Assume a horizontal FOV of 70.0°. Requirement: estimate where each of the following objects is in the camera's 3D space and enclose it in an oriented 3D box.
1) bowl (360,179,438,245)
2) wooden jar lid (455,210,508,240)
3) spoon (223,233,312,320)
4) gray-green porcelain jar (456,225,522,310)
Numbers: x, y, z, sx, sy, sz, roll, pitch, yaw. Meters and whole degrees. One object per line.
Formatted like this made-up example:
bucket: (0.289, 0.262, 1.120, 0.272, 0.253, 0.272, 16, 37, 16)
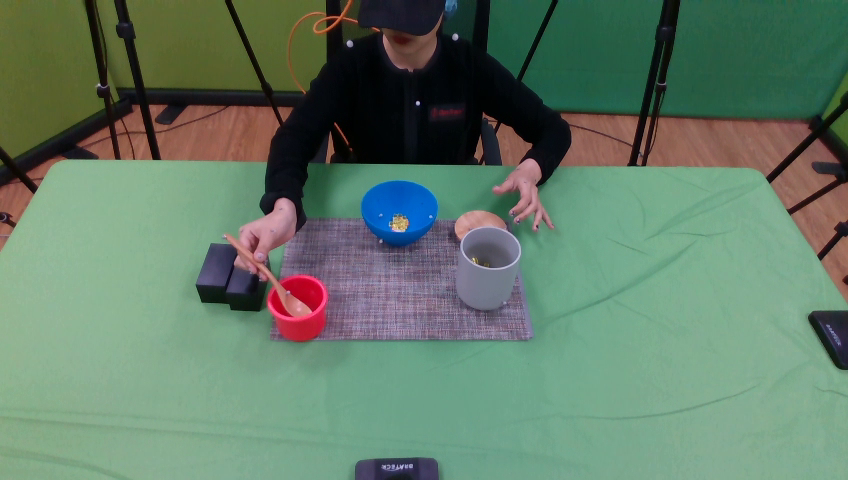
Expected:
bowl: (-0.049, -0.042, 1.190, 0.151, 0.077, 0.150, 2, 46, -2)
wooden jar lid: (0.115, -0.018, 1.220, 0.108, 0.021, 0.107, 3, 47, -3)
spoon: (-0.254, 0.058, 0.985, 0.194, 0.021, 0.041, 51, 28, -11)
gray-green porcelain jar: (0.111, 0.054, 1.077, 0.106, 0.127, 0.105, 2, 46, -2)
